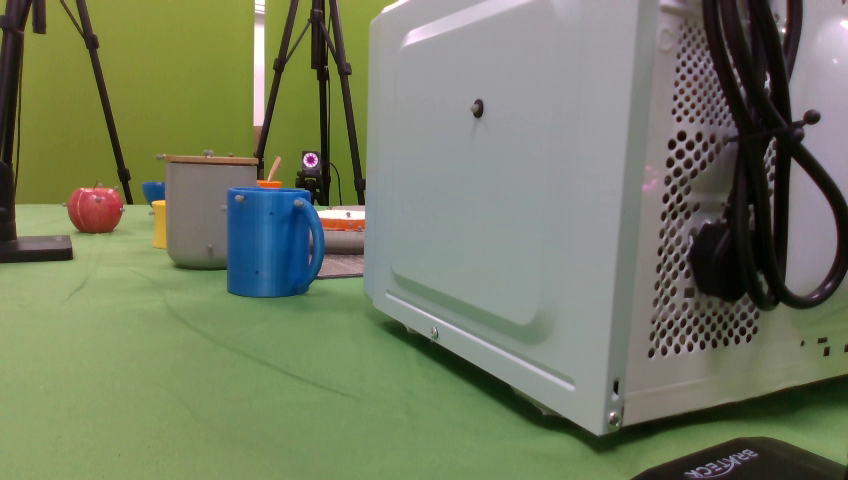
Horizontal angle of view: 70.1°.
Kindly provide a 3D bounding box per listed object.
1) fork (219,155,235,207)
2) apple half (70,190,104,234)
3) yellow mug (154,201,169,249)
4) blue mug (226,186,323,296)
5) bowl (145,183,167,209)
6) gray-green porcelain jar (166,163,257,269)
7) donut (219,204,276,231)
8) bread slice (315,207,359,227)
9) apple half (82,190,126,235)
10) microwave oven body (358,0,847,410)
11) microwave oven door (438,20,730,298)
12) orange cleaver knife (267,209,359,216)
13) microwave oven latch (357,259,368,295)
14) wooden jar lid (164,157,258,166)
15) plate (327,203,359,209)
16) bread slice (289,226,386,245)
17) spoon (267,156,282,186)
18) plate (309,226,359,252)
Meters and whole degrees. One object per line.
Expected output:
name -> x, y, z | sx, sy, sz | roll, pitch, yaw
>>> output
fork -> -0.459, -0.134, 1.415 | 0.028, 0.018, 0.207 | -1, -34, -24
apple half -> -0.552, -0.047, 1.009 | 0.053, 0.074, 0.081 | 0, 9, 26
yellow mug -> -0.338, -0.022, 0.899 | 0.130, 0.064, 0.100 | 8, 9, 34
blue mug -> -0.148, 0.000, 0.618 | 0.116, 0.106, 0.083 | 7, 9, 33
bowl -> -0.459, -0.068, 1.175 | 0.151, 0.077, 0.151 | 2, 7, 0
gray-green porcelain jar -> -0.263, -0.031, 0.754 | 0.106, 0.126, 0.106 | 2, 7, 0
donut -> -0.316, -0.039, 1.083 | 0.099, 0.048, 0.099 | 2, 7, 0
bread slice -> -0.127, -0.035, 0.933 | 0.134, 0.018, 0.107 | 4, 11, 27
apple half -> -0.517, -0.046, 0.994 | 0.032, 0.081, 0.081 | 0, 6, 26
microwave oven body -> 0.210, -0.051, 0.471 | 0.444, 0.260, 0.324 | -1, 7, -28
microwave oven door -> 0.181, -0.076, 0.618 | 0.358, 0.243, 0.039 | -2, 8, -28
orange cleaver knife -> -0.259, -0.064, 1.423 | 0.212, 0.012, 0.077 | -4, 3, -30
microwave oven latch -> -0.019, 0.031, 0.529 | 0.079, 0.029, 0.030 | -1, 7, -26
wooden jar lid -> -0.261, -0.093, 0.746 | 0.108, 0.020, 0.108 | 0, 9, 0
plate -> -0.102, -0.053, 1.299 | 0.209, 0.038, 0.209 | 2, 8, 0
bread slice -> -0.125, -0.008, 0.938 | 0.131, 0.019, 0.105 | 5, 7, 31
spoon -> -0.391, -0.150, 1.547 | 0.041, 0.193, 0.022 | 2, -37, 8
plate -> -0.130, -0.011, 0.945 | 0.208, 0.039, 0.207 | 2, 7, 0
